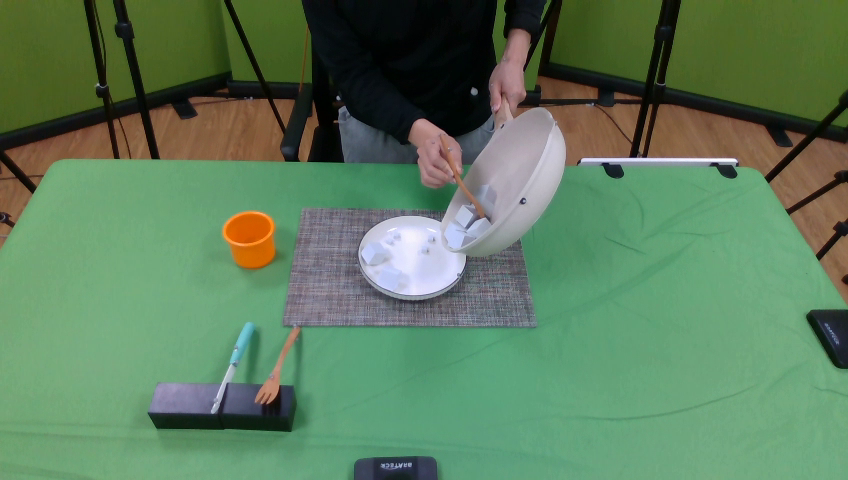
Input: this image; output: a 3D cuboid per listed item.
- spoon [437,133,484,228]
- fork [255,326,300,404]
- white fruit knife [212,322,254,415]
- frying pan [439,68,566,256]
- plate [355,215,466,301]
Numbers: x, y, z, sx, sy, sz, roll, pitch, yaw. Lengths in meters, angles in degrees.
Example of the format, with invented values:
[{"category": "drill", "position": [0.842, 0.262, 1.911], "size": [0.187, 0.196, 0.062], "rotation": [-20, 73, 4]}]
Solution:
[{"category": "spoon", "position": [0.064, -0.102, 1.065], "size": [0.021, 0.194, 0.041], "rotation": [-28, 26, 7]}, {"category": "fork", "position": [-0.226, 0.192, 0.955], "size": [0.028, 0.019, 0.206], "rotation": [-1, 27, 4]}, {"category": "white fruit knife", "position": [-0.298, 0.193, 0.947], "size": [0.016, 0.027, 0.206], "rotation": [1, 31, -1]}, {"category": "frying pan", "position": [0.147, -0.172, 1.116], "size": [0.103, 0.307, 0.485], "rotation": [27, 46, -24]}, {"category": "plate", "position": [-0.025, 0.038, 1.144], "size": [0.208, 0.039, 0.206], "rotation": [3, 46, -3]}]
